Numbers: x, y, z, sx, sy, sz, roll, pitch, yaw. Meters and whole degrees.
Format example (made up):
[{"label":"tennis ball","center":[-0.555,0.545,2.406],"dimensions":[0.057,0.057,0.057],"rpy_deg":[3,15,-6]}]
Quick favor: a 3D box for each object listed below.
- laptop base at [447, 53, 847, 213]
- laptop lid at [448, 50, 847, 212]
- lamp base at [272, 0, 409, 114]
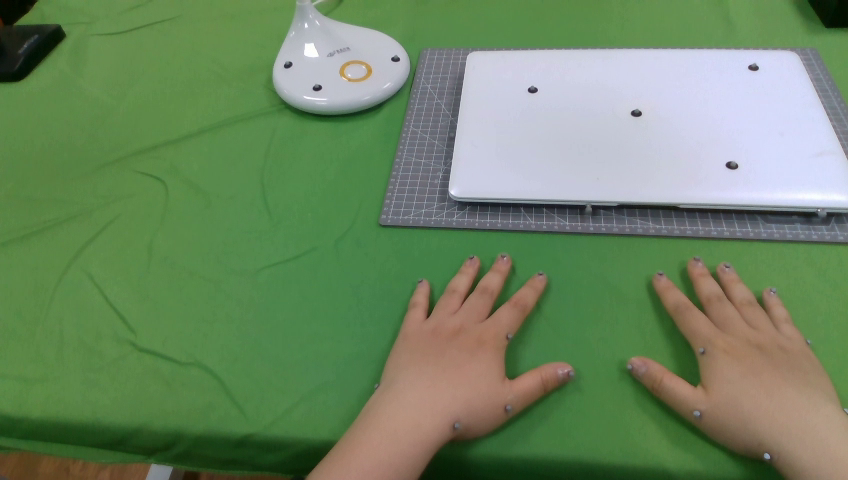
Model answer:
[{"label":"laptop base","center":[0.208,-0.112,0.604],"dimensions":[0.354,0.023,0.233],"rpy_deg":[2,52,8]},{"label":"laptop lid","center":[0.207,-0.118,0.594],"dimensions":[0.356,0.013,0.239],"rpy_deg":[3,51,9]},{"label":"lamp base","center":[-0.112,-0.256,0.658],"dimensions":[0.160,0.182,0.177],"rpy_deg":[-37,52,-25]}]
